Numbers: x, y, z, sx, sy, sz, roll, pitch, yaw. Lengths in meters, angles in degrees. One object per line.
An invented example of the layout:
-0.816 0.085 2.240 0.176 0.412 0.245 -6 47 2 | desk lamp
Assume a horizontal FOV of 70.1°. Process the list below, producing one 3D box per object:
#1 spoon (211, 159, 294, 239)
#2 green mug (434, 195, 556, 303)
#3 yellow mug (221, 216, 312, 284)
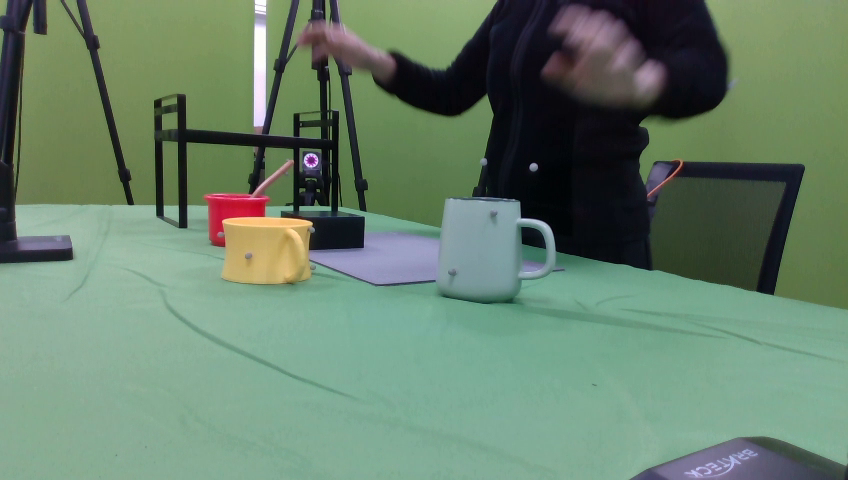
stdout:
-0.269 -0.069 0.970 0.041 0.022 0.194 5 52 43 | spoon
0.074 0.009 0.624 0.125 0.105 0.093 6 7 23 | green mug
-0.171 0.011 0.686 0.100 0.064 0.130 -4 11 -42 | yellow mug
